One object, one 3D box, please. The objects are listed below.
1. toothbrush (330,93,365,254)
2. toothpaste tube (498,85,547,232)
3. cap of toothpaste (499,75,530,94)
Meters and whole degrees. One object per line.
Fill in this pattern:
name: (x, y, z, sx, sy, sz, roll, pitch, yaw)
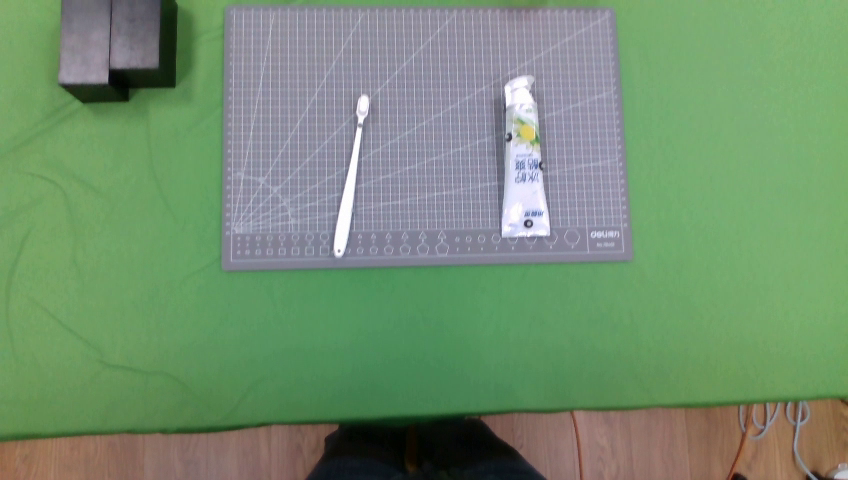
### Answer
toothbrush: (-0.083, -0.075, 0.662, 0.014, 0.016, 0.181, 10, 83, -16)
toothpaste tube: (0.105, -0.091, 0.674, 0.055, 0.034, 0.164, -3, 86, 3)
cap of toothpaste: (0.102, -0.173, 0.679, 0.037, 0.037, 0.011, -14, 80, -6)
